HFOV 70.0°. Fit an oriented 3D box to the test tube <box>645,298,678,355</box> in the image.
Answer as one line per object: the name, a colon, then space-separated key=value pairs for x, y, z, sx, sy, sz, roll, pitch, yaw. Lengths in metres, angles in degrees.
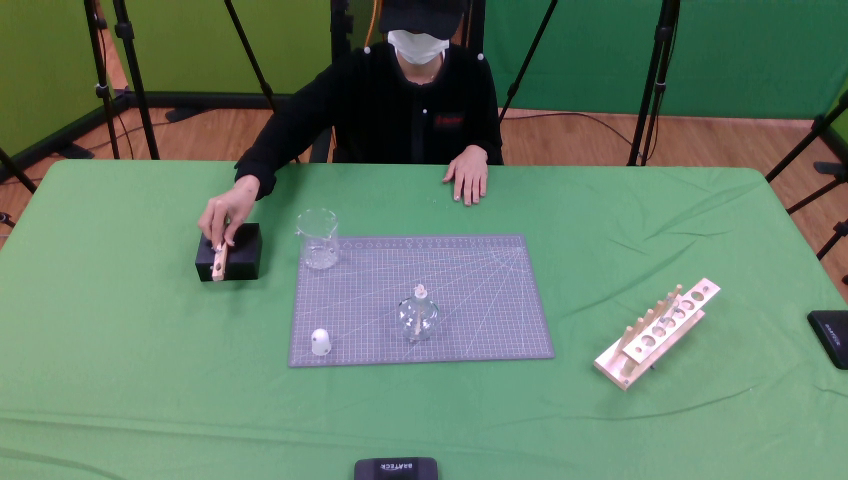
test tube: x=0.378 y=0.143 z=0.976 sx=0.017 sy=0.151 sz=0.017 roll=1 pitch=48 yaw=-1

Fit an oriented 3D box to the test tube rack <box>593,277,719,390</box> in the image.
test tube rack: x=0.401 y=0.148 z=1.043 sx=0.242 sy=0.085 sz=0.066 roll=-30 pitch=55 yaw=-29

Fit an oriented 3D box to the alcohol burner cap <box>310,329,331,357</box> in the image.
alcohol burner cap: x=-0.173 y=0.168 z=1.005 sx=0.034 sy=0.048 sz=0.033 roll=2 pitch=46 yaw=-2

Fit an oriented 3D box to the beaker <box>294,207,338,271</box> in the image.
beaker: x=-0.196 y=0.003 z=1.123 sx=0.074 sy=0.101 sz=0.083 roll=-23 pitch=53 yaw=-24

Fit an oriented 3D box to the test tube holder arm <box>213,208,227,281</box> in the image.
test tube holder arm: x=-0.370 y=0.004 z=1.101 sx=0.013 sy=0.015 sz=0.177 roll=1 pitch=44 yaw=-14

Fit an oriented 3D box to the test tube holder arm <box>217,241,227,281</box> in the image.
test tube holder arm: x=-0.357 y=0.036 z=1.071 sx=0.010 sy=0.015 sz=0.087 roll=2 pitch=44 yaw=-14

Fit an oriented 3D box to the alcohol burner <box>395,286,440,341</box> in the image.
alcohol burner: x=-0.010 y=0.116 z=1.018 sx=0.078 sy=0.119 sz=0.077 roll=3 pitch=47 yaw=-3
